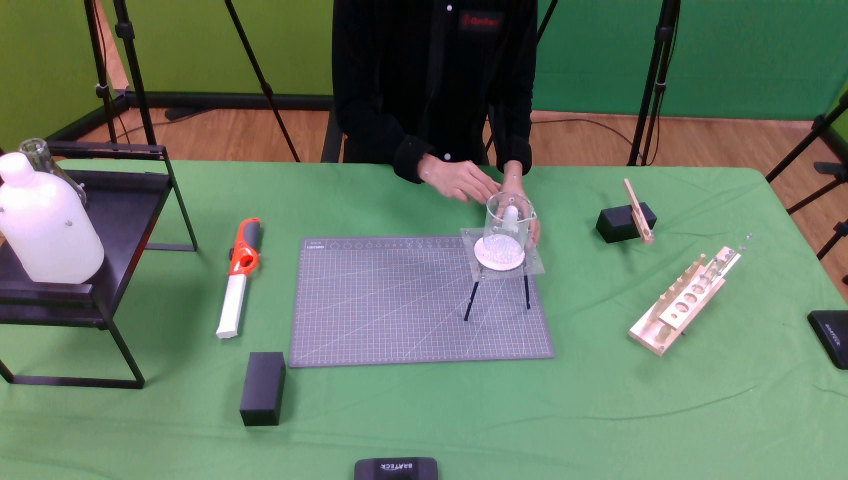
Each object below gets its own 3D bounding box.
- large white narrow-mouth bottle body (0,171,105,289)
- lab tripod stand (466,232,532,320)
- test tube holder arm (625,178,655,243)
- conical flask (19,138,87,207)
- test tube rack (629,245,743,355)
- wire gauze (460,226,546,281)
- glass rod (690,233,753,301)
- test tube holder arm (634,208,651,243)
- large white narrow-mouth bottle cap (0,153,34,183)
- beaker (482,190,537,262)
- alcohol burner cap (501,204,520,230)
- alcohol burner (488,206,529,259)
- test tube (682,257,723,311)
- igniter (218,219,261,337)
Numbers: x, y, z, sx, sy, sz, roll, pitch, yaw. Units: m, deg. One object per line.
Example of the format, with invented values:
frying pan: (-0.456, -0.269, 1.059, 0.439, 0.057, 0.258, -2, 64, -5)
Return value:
large white narrow-mouth bottle body: (-0.513, -0.029, 0.818, 0.102, 0.195, 0.101, 2, 46, -2)
lab tripod stand: (0.125, 0.059, 1.065, 0.148, 0.132, 0.147, 1, 45, 0)
test tube holder arm: (0.433, -0.062, 1.220, 0.013, 0.015, 0.177, 1, 47, -3)
conical flask: (-0.576, -0.097, 0.930, 0.075, 0.122, 0.075, 2, 46, -2)
test tube rack: (0.474, 0.095, 1.091, 0.242, 0.085, 0.066, -34, 56, -31)
wire gauze: (0.130, 0.017, 1.016, 0.121, 0.011, 0.124, -4, 43, -9)
glass rod: (0.507, 0.053, 1.041, 0.008, 0.200, 0.008, 5, 51, -6)
test tube holder arm: (0.428, -0.030, 1.189, 0.010, 0.015, 0.087, 1, 47, -2)
large white narrow-mouth bottle cap: (-0.510, -0.090, 0.754, 0.038, 0.024, 0.037, 2, 46, -2)
beaker: (0.136, -0.019, 0.983, 0.084, 0.101, 0.073, 17, 47, 14)
alcohol burner cap: (0.164, -0.046, 1.133, 0.034, 0.048, 0.033, 2, 40, -2)
alcohol burner: (0.163, -0.020, 1.158, 0.078, 0.120, 0.077, 0, 47, 0)
test tube: (0.475, 0.080, 1.037, 0.017, 0.151, 0.017, 1, 51, -1)
igniter: (-0.336, 0.060, 1.111, 0.057, 0.025, 0.274, -8, 46, 4)
